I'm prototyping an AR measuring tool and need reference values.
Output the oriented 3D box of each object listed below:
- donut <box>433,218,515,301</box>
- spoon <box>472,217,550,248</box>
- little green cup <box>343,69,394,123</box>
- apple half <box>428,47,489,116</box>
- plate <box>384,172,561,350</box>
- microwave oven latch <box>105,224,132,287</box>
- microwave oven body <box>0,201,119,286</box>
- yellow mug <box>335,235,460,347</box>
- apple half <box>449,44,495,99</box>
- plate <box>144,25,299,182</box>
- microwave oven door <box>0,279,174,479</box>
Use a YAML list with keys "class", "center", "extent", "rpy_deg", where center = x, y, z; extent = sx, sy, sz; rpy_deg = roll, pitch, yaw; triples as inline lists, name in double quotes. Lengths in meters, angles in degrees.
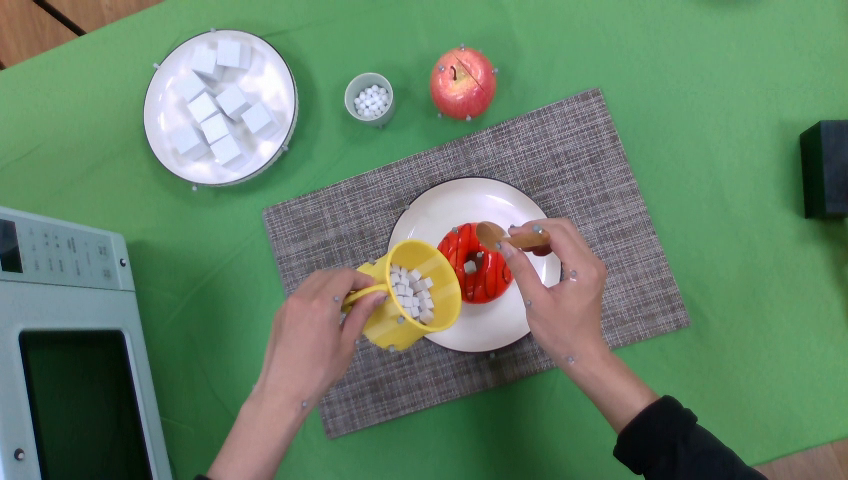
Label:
- class: "donut"
  center: [0.056, 0.022, 0.705]
  extent: [0.099, 0.048, 0.099]
  rpy_deg: [-1, 86, 9]
- class: "spoon"
  center: [0.077, -0.004, 0.554]
  extent: [0.021, 0.193, 0.042]
  rpy_deg: [-42, 97, -3]
- class: "little green cup"
  center: [-0.067, -0.178, 0.761]
  extent: [0.061, 0.039, 0.061]
  rpy_deg: [-1, 83, 9]
- class: "apple half"
  center: [0.035, -0.181, 0.729]
  extent: [0.053, 0.075, 0.080]
  rpy_deg: [-40, 83, 7]
- class: "plate"
  center: [0.056, 0.024, 0.716]
  extent: [0.209, 0.038, 0.208]
  rpy_deg: [-1, 84, 8]
- class: "microwave oven latch"
  center: [-0.396, 0.021, 0.769]
  extent: [0.030, 0.029, 0.079]
  rpy_deg: [-15, 82, 6]
- class: "microwave oven body"
  center: [-0.507, 0.219, 0.665]
  extent: [0.326, 0.261, 0.440]
  rpy_deg: [-16, 82, 6]
- class: "yellow mug"
  center: [-0.031, 0.053, 0.607]
  extent: [0.064, 0.131, 0.099]
  rpy_deg: [-31, 70, 40]
- class: "apple half"
  center: [0.064, -0.207, 0.726]
  extent: [0.033, 0.081, 0.081]
  rpy_deg: [-40, 79, 6]
- class: "plate"
  center: [-0.259, -0.174, 0.789]
  extent: [0.207, 0.039, 0.207]
  rpy_deg: [-1, 84, 9]
- class: "microwave oven door"
  center: [-0.358, 0.218, 0.638]
  extent: [0.039, 0.245, 0.354]
  rpy_deg: [-16, 81, 6]
